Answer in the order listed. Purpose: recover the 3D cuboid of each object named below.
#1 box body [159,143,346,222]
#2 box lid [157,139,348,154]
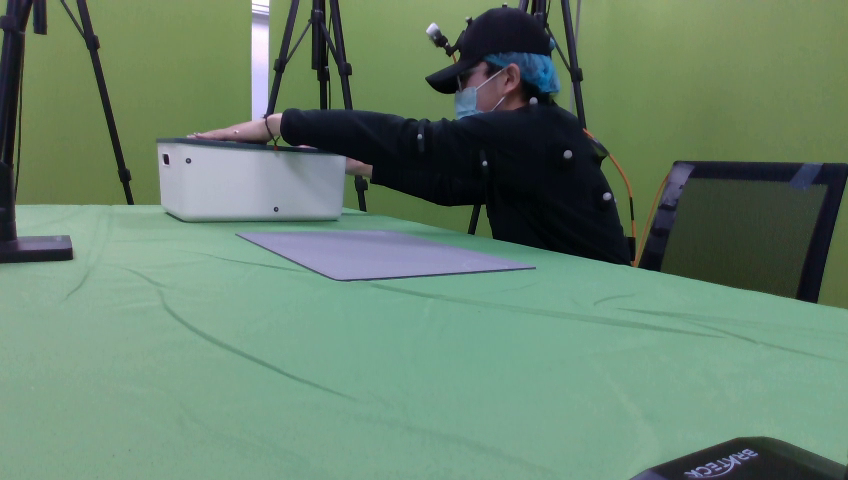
[{"bbox_3d":[-0.385,-0.133,1.359,0.366,0.160,0.253,-2,9,-33],"label":"box body"},{"bbox_3d":[-0.379,-0.206,1.350,0.373,0.015,0.262,-2,9,-33],"label":"box lid"}]
